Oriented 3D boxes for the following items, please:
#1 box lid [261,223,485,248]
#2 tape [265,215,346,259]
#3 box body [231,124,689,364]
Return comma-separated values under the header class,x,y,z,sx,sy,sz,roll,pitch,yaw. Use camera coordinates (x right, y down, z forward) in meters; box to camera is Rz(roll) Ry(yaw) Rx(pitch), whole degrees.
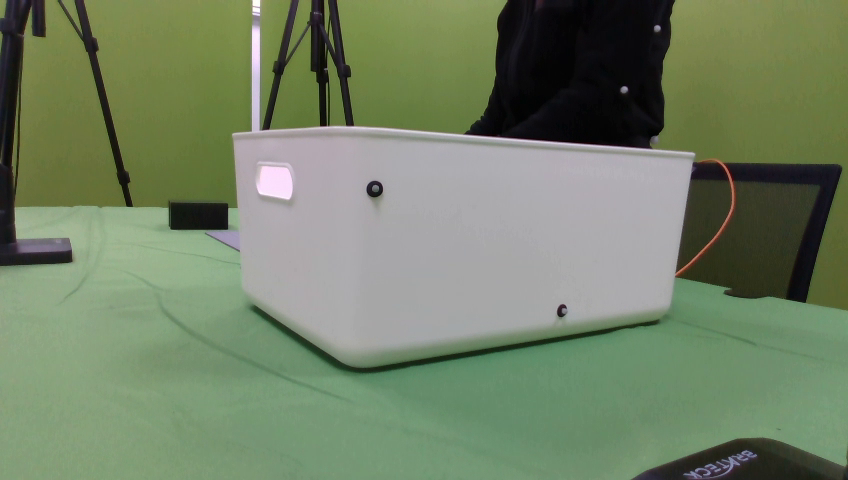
class,x,y,z,sx,sy,sz,roll,pitch,yaw
box lid,-0.100,-0.009,1.085,0.373,0.015,0.262,0,7,-15
tape,-0.168,-0.006,0.872,0.117,0.052,0.117,3,7,0
box body,0.031,-0.013,0.563,0.366,0.160,0.253,-3,8,-33
